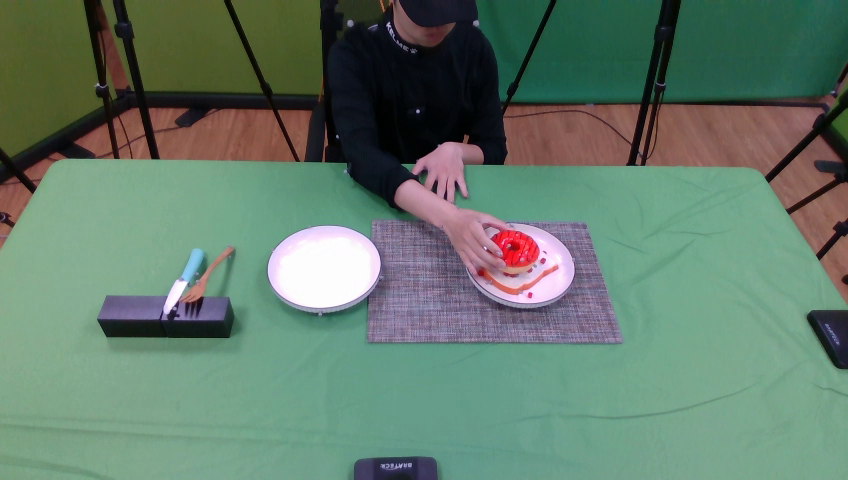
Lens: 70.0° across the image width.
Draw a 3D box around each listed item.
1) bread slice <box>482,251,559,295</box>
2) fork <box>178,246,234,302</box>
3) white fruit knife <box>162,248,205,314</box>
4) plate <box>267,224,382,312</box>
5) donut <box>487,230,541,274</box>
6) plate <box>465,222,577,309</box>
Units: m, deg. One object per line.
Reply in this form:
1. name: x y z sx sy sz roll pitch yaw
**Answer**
1. bread slice: 0.177 0.050 1.148 0.131 0.019 0.104 -31 55 -31
2. fork: -0.380 0.057 1.075 0.028 0.019 0.206 3 28 5
3. white fruit knife: -0.420 0.070 1.063 0.027 0.016 0.206 -1 29 -3
4. plate: -0.182 0.055 1.120 0.208 0.039 0.206 2 46 -2
5. donut: 0.165 0.021 1.112 0.099 0.048 0.098 -2 44 2
6. plate: 0.180 0.051 1.144 0.209 0.038 0.208 2 46 -2
